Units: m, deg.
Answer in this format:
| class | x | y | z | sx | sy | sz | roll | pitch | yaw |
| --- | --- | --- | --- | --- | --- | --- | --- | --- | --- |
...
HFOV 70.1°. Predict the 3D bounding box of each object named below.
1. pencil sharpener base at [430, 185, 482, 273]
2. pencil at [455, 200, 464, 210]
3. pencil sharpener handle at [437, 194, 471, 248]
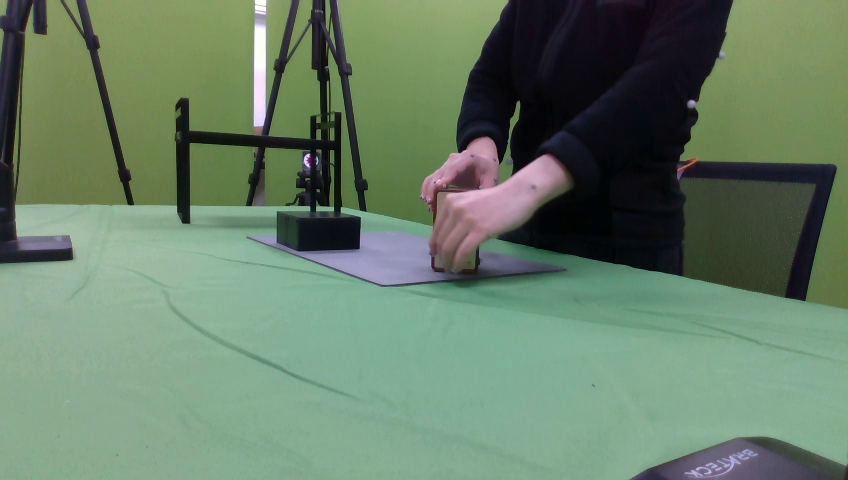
| class | x | y | z | sx | sy | sz | roll | pitch | yaw |
| --- | --- | --- | --- | --- | --- | --- | --- | --- | --- |
| pencil sharpener base | 0.041 | -0.015 | 0.783 | 0.061 | 0.107 | 0.076 | 3 | 8 | 4 |
| pencil | 0.050 | -0.049 | 0.870 | 0.012 | 0.012 | 0.194 | 3 | 5 | 4 |
| pencil sharpener handle | 0.033 | -0.022 | 0.731 | 0.036 | 0.067 | 0.030 | 22 | 9 | 1 |
